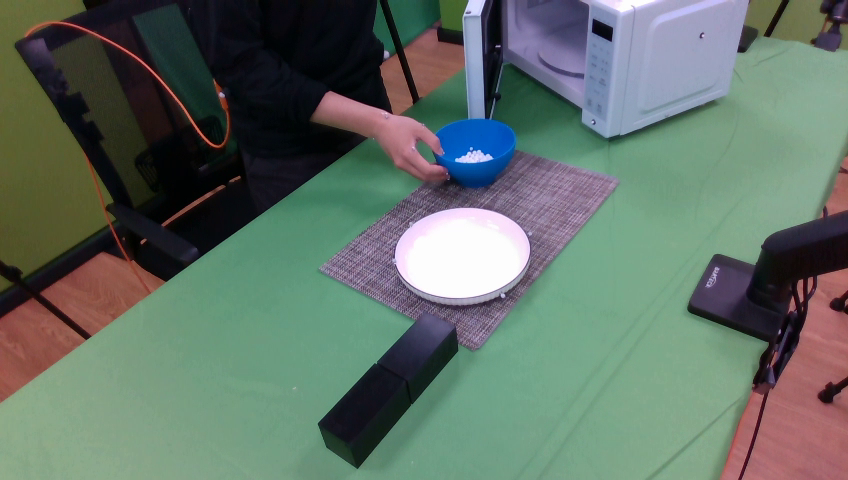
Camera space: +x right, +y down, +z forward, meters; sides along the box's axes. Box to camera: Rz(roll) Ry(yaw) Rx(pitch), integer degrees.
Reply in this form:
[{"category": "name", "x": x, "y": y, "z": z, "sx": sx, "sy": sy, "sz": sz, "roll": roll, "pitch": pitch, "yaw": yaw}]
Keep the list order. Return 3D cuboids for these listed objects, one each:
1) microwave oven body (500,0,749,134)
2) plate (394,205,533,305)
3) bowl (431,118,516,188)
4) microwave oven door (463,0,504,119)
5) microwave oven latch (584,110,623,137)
[{"category": "microwave oven body", "x": 0.382, "y": -0.444, "z": 1.246, "sx": 0.327, "sy": 0.261, "sz": 0.437, "roll": -22, "pitch": 42, "yaw": -16}, {"category": "plate", "x": 0.059, "y": 0.025, "z": 0.915, "sx": 0.207, "sy": 0.039, "sz": 0.206, "roll": -4, "pitch": 41, "yaw": 4}, {"category": "bowl", "x": 0.090, "y": -0.146, "z": 1.080, "sx": 0.151, "sy": 0.077, "sz": 0.150, "roll": -4, "pitch": 40, "yaw": 4}, {"category": "microwave oven door", "x": 0.125, "y": -0.403, "z": 1.226, "sx": 0.039, "sy": 0.245, "sz": 0.355, "roll": 3, "pitch": 42, "yaw": 12}, {"category": "microwave oven latch", "x": 0.337, "y": -0.222, "z": 1.142, "sx": 0.030, "sy": 0.029, "sz": 0.078, "roll": -21, "pitch": 42, "yaw": -14}]
